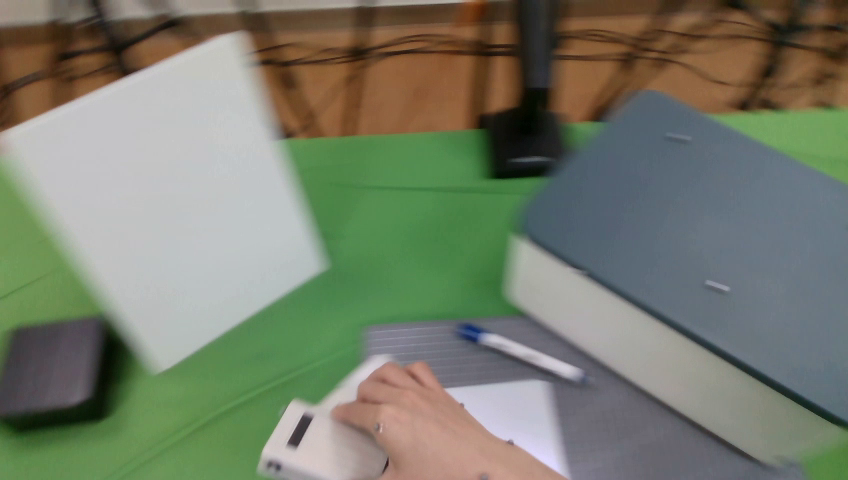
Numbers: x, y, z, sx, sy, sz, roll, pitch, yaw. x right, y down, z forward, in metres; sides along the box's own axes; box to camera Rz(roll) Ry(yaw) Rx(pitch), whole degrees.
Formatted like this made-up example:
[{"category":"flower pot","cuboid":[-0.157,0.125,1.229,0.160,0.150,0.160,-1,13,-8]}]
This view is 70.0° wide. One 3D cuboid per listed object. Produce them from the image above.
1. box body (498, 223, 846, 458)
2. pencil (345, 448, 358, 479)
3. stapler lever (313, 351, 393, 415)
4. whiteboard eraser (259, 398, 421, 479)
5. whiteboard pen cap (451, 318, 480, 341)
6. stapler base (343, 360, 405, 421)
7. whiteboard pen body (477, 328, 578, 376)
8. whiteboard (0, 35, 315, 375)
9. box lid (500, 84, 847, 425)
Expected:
[{"category":"box body","cuboid":[0.289,0.027,0.661,0.361,0.162,0.253,31,61,20]},{"category":"pencil","cuboid":[-0.048,0.288,0.573,0.012,0.012,0.192,-17,57,-11]},{"category":"stapler lever","cuboid":[-0.083,0.160,0.624,0.118,0.040,0.026,-36,58,-19]},{"category":"whiteboard eraser","cuboid":[-0.062,0.166,0.461,0.112,0.042,0.055,19,41,4]},{"category":"whiteboard pen cap","cuboid":[0.049,0.103,0.694,0.033,0.018,0.018,20,58,15]},{"category":"stapler base","cuboid":[-0.080,0.173,0.645,0.130,0.024,0.041,-36,58,-18]},{"category":"whiteboard pen body","cuboid":[0.103,0.121,0.678,0.140,0.017,0.017,19,57,15]},{"category":"whiteboard","cuboid":[-0.292,-0.048,0.666,0.217,0.308,0.142,-35,43,-21]},{"category":"box lid","cuboid":[0.287,-0.017,0.601,0.369,0.015,0.262,32,61,19]}]
